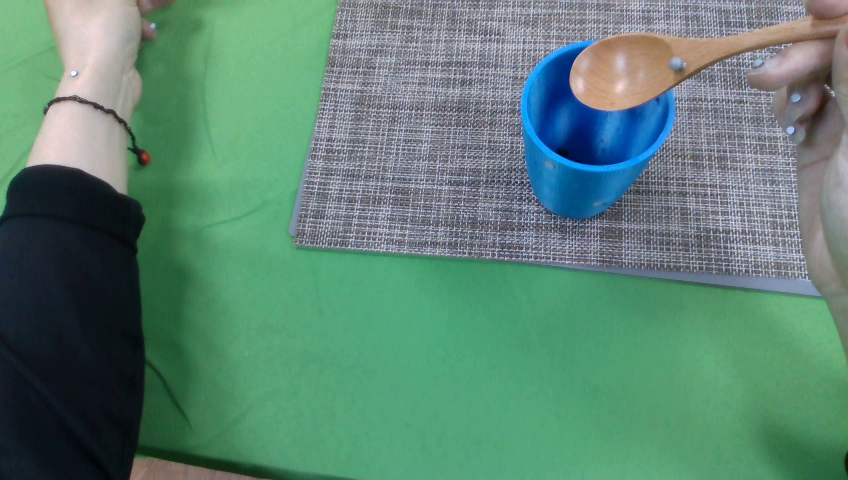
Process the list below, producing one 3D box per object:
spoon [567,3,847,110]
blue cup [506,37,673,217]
[{"bbox_3d":[0.153,-0.089,0.268,0.192,0.022,0.041,0,83,45],"label":"spoon"},{"bbox_3d":[0.101,-0.060,0.385,0.092,0.101,0.092,-2,69,6],"label":"blue cup"}]
